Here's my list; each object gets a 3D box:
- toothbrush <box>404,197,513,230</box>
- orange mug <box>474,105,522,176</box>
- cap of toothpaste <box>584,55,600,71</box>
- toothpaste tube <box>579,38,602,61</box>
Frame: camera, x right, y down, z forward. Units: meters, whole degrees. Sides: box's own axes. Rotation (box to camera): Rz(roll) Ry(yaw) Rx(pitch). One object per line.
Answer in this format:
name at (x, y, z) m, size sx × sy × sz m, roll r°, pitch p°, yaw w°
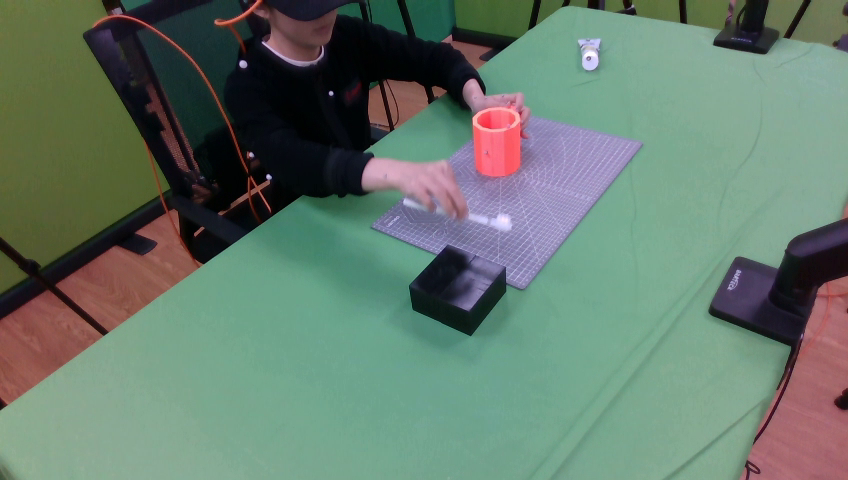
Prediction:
toothbrush at (0.046, -0.041, 0.871) m, size 0.180 × 0.017 × 0.014 m, roll 15°, pitch 41°, yaw 30°
orange mug at (0.145, -0.192, 1.114) m, size 0.083 × 0.101 × 0.126 m, roll 18°, pitch 51°, yaw 27°
cap of toothpaste at (0.381, -0.403, 1.372) m, size 0.037 × 0.037 × 0.011 m, roll 1°, pitch 38°, yaw 10°
toothpaste tube at (0.398, -0.449, 1.433) m, size 0.055 × 0.034 × 0.164 m, roll 6°, pitch 38°, yaw 8°
